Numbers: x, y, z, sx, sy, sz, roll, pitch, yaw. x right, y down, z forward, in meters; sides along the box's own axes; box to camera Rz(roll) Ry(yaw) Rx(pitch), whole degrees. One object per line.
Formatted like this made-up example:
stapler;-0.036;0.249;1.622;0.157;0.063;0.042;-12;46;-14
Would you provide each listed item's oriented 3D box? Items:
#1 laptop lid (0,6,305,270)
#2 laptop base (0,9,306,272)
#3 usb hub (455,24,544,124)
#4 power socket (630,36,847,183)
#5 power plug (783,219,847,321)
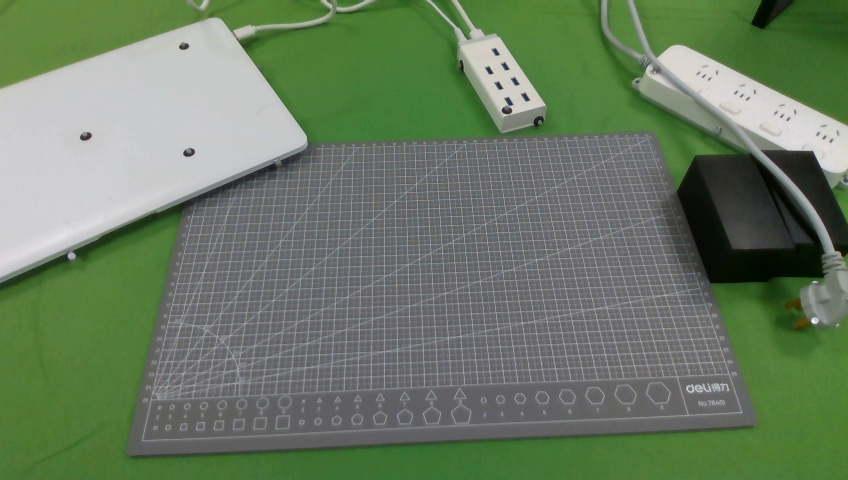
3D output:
laptop lid;-0.318;-0.104;0.572;0.357;0.013;0.239;-26;61;-17
laptop base;-0.319;-0.099;0.582;0.354;0.023;0.233;-28;63;-18
usb hub;0.076;-0.176;0.632;0.049;0.025;0.124;-17;57;-11
power socket;0.317;-0.134;0.600;0.225;0.033;0.072;38;63;23
power plug;0.308;0.028;0.476;0.035;0.053;0.072;22;58;-19
